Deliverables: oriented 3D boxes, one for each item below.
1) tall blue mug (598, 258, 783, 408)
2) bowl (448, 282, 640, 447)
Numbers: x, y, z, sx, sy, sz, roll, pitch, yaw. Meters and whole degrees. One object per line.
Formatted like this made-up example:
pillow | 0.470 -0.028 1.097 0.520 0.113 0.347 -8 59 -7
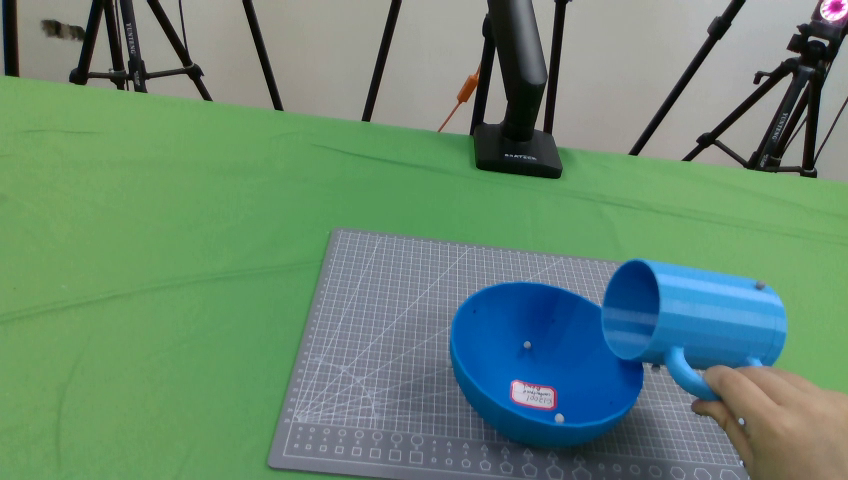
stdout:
tall blue mug | 0.203 0.065 0.447 0.108 0.078 0.106 10 13 -15
bowl | 0.087 0.111 0.489 0.151 0.077 0.150 6 37 -4
